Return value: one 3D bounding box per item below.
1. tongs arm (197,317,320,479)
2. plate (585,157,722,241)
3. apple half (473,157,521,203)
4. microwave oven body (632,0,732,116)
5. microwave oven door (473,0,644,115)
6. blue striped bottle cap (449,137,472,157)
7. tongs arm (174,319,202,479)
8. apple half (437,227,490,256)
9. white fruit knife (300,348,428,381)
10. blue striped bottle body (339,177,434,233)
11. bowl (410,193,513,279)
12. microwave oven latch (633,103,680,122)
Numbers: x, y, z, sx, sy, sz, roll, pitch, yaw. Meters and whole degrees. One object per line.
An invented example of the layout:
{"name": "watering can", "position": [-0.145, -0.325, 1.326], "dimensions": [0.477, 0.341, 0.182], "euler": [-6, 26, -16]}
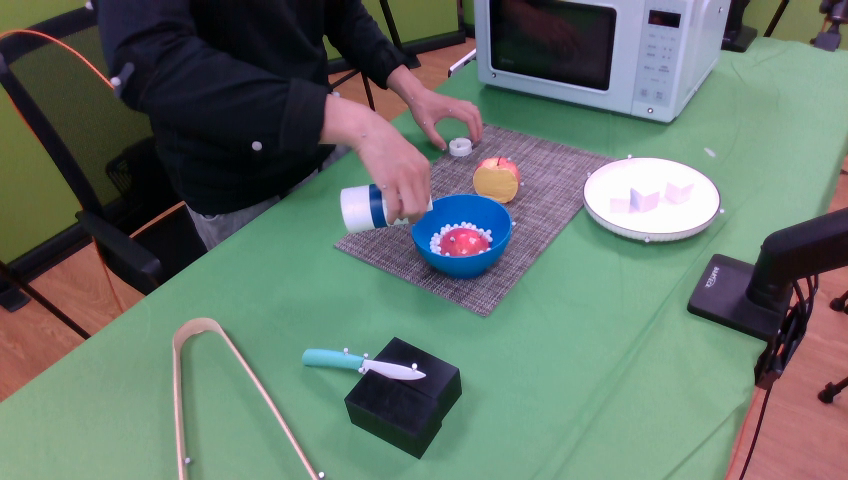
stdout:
{"name": "tongs arm", "position": [-0.199, 0.207, 0.750], "dimensions": [0.028, 0.028, 0.384], "euler": [-31, 45, -22]}
{"name": "plate", "position": [0.367, -0.063, 0.979], "dimensions": [0.207, 0.039, 0.206], "euler": [-4, 40, 4]}
{"name": "apple half", "position": [0.128, -0.107, 1.030], "dimensions": [0.080, 0.075, 0.053], "euler": [4, 38, 19]}
{"name": "microwave oven body", "position": [0.377, -0.463, 1.267], "dimensions": [0.438, 0.261, 0.327], "euler": [21, 49, 30]}
{"name": "microwave oven door", "position": [0.257, -0.396, 1.199], "dimensions": [0.353, 0.245, 0.039], "euler": [21, 48, 29]}
{"name": "blue striped bottle cap", "position": [0.070, -0.180, 1.168], "dimensions": [0.044, 0.021, 0.044], "euler": [-5, 43, 5]}
{"name": "tongs arm", "position": [-0.272, 0.234, 0.723], "dimensions": [0.051, 0.026, 0.381], "euler": [-19, 40, -14]}
{"name": "apple half", "position": [0.056, 0.002, 0.902], "dimensions": [0.081, 0.033, 0.081], "euler": [-3, 41, 3]}
{"name": "white fruit knife", "position": [-0.080, 0.154, 0.748], "dimensions": [0.206, 0.027, 0.016], "euler": [1, 20, 34]}
{"name": "blue striped bottle body", "position": [-0.049, -0.050, 0.821], "dimensions": [0.121, 0.063, 0.062], "euler": [-10, 40, 3]}
{"name": "bowl", "position": [0.058, 0.004, 0.905], "dimensions": [0.151, 0.077, 0.150], "euler": [-4, 40, 3]}
{"name": "microwave oven latch", "position": [0.444, -0.249, 1.158], "dimensions": [0.078, 0.029, 0.030], "euler": [21, 49, 30]}
